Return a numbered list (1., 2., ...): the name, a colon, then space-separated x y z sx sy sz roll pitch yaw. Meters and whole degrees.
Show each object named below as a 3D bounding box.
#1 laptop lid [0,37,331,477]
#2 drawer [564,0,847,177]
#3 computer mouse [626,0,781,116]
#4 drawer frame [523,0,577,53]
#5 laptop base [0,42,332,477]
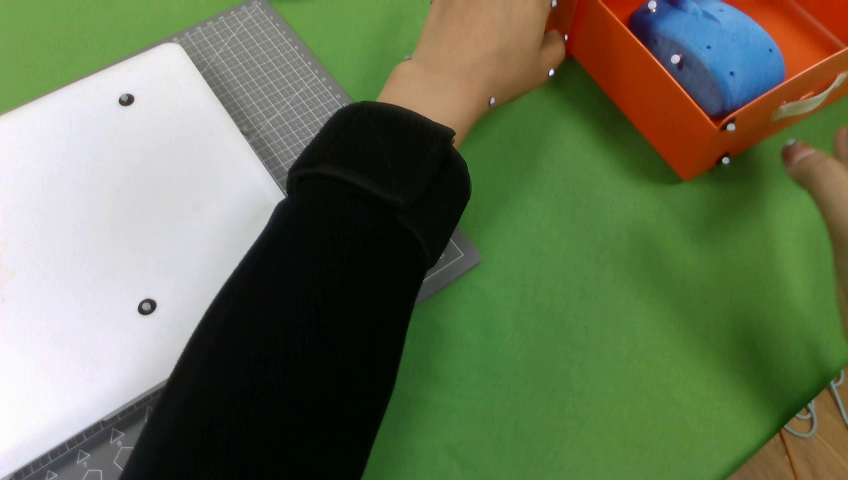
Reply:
1. laptop lid: -0.262 0.022 0.362 0.357 0.013 0.240 -30 69 -14
2. drawer: 0.209 -0.175 0.445 0.194 0.074 0.210 -27 66 -12
3. computer mouse: 0.205 -0.146 0.446 0.063 0.041 0.116 -25 65 -11
4. drawer frame: 0.147 -0.277 0.494 0.202 0.083 0.211 -25 65 -12
5. laptop base: -0.263 0.025 0.373 0.354 0.023 0.234 -31 71 -15
